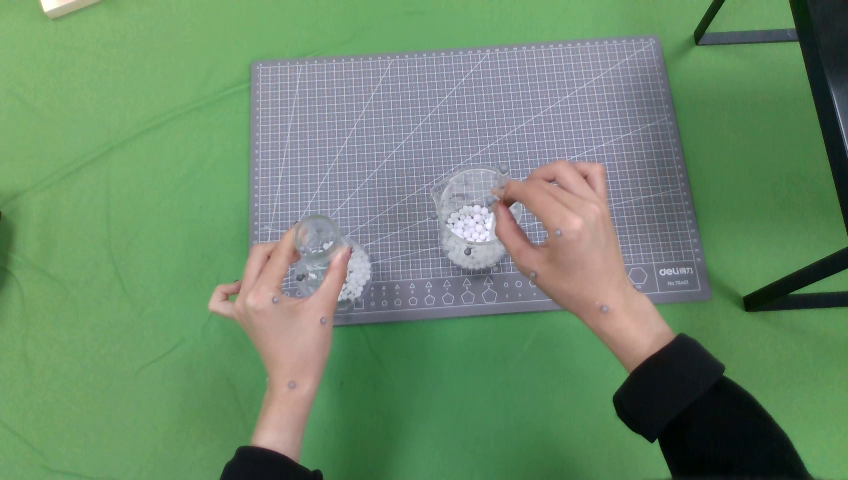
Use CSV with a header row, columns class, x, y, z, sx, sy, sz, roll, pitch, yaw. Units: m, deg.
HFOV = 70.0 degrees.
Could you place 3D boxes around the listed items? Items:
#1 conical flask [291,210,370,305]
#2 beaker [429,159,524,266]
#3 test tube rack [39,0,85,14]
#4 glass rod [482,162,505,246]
class,x,y,z,sx,sy,sz,roll,pitch,yaw
conical flask,-0.088,0.011,0.539,0.075,0.122,0.075,1,72,-1
beaker,0.045,-0.021,0.562,0.084,0.101,0.073,19,74,8
test tube rack,-0.333,-0.347,0.670,0.242,0.085,0.066,-24,74,-6
glass rod,0.055,-0.024,0.497,0.008,0.201,0.008,-1,75,2
